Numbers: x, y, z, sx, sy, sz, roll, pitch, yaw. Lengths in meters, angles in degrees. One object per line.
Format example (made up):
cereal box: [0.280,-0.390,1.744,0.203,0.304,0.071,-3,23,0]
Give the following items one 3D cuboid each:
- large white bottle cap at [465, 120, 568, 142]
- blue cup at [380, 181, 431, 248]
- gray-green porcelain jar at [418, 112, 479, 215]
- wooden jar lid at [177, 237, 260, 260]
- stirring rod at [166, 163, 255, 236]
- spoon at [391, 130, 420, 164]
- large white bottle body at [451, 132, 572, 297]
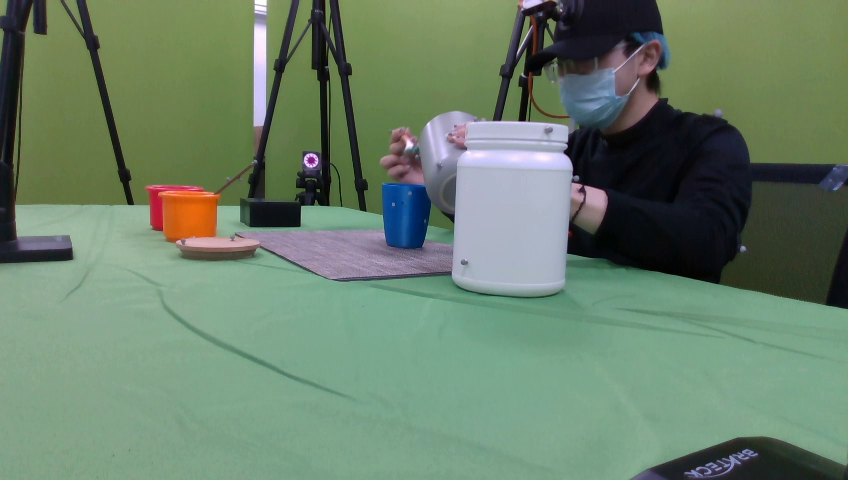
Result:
large white bottle cap: [0.103,-0.121,0.677,0.115,0.018,0.115,3,7,0]
blue cup: [-0.030,-0.042,0.979,0.093,0.100,0.092,3,9,0]
gray-green porcelain jar: [0.048,-0.106,0.865,0.106,0.106,0.126,1,43,-9]
wooden jar lid: [-0.283,0.011,0.834,0.108,0.020,0.108,1,7,0]
stirring rod: [-0.341,-0.066,0.967,0.176,0.006,0.014,-42,23,-9]
spoon: [-0.034,-0.163,1.034,0.042,0.021,0.193,-3,28,-12]
large white bottle body: [0.099,-0.037,0.688,0.131,0.184,0.130,2,7,0]
